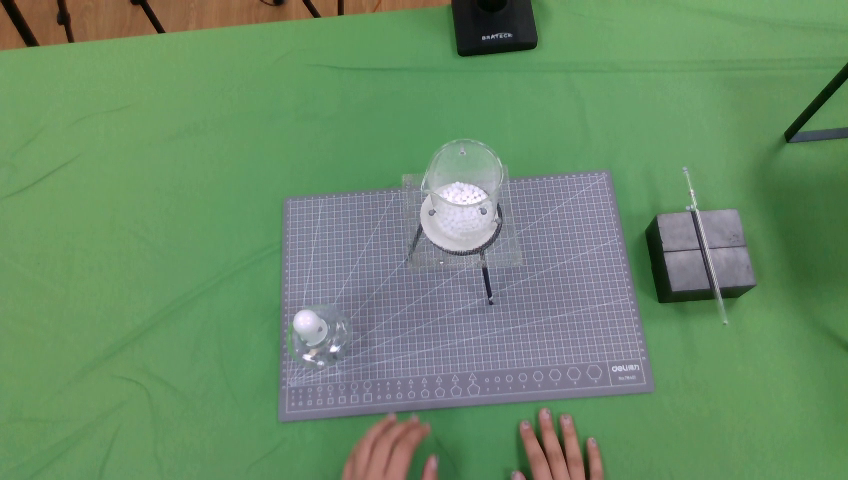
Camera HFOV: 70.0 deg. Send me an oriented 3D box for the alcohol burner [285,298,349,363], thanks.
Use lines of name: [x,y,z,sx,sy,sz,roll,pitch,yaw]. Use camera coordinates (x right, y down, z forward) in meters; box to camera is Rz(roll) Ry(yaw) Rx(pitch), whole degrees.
alcohol burner: [-0.128,0.102,0.705,0.078,0.120,0.077,0,70,2]

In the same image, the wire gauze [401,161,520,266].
wire gauze: [0.038,-0.029,0.667,0.125,0.011,0.120,-3,70,-1]

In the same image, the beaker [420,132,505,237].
beaker: [0.038,-0.051,0.623,0.084,0.101,0.073,-20,69,-5]

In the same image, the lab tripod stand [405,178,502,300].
lab tripod stand: [0.045,-0.009,0.730,0.148,0.132,0.147,-1,67,3]

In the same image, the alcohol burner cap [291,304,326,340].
alcohol burner cap: [-0.130,0.089,0.672,0.034,0.048,0.033,-3,64,6]

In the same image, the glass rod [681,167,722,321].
glass rod: [0.335,0.001,0.732,0.008,0.008,0.198,-4,69,1]
